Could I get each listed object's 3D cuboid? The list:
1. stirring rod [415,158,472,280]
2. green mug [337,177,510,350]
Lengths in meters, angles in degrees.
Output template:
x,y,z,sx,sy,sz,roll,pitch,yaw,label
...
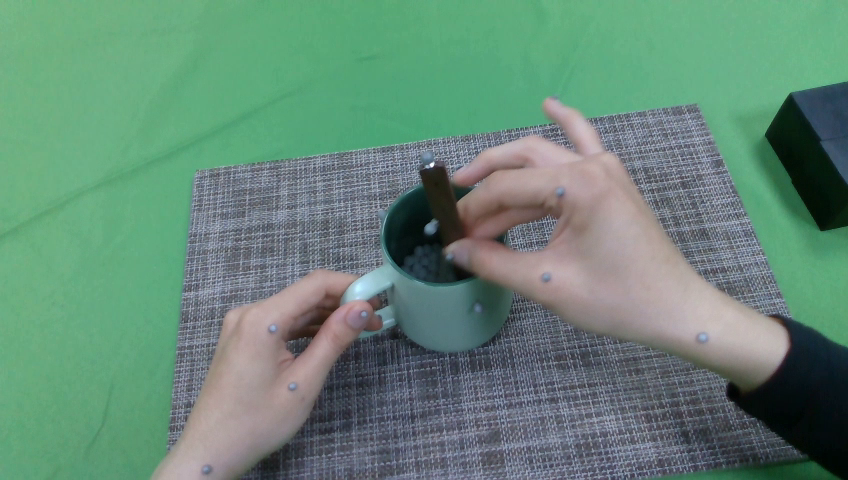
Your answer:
x,y,z,sx,sy,sz,roll,pitch,yaw,label
0.019,0.008,0.362,0.014,0.178,0.005,-13,57,5,stirring rod
0.000,0.027,0.412,0.125,0.106,0.091,-28,62,-11,green mug
